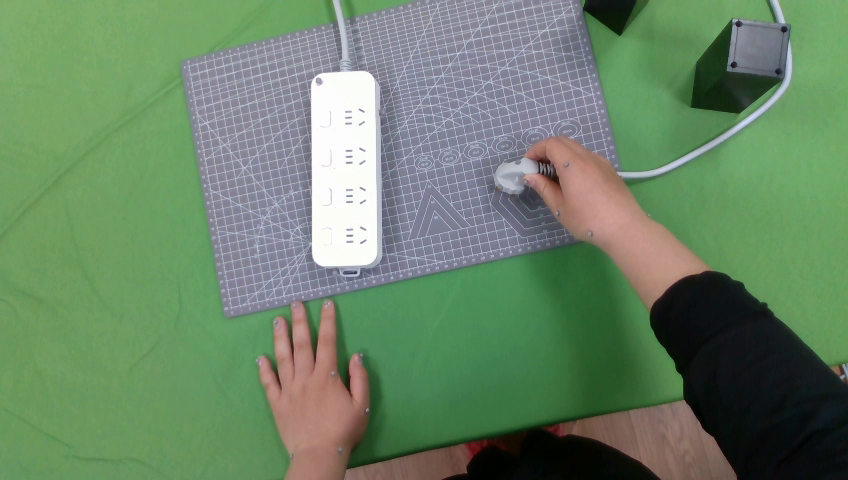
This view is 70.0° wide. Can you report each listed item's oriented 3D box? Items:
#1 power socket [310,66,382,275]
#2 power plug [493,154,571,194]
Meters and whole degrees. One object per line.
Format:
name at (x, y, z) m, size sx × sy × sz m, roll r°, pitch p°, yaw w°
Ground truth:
power socket at (-0.084, -0.076, 0.648) m, size 0.072 × 0.032 × 0.226 m, roll -2°, pitch 85°, yaw 5°
power plug at (0.106, -0.061, 0.619) m, size 0.072 × 0.053 × 0.035 m, roll 20°, pitch 61°, yaw -2°
